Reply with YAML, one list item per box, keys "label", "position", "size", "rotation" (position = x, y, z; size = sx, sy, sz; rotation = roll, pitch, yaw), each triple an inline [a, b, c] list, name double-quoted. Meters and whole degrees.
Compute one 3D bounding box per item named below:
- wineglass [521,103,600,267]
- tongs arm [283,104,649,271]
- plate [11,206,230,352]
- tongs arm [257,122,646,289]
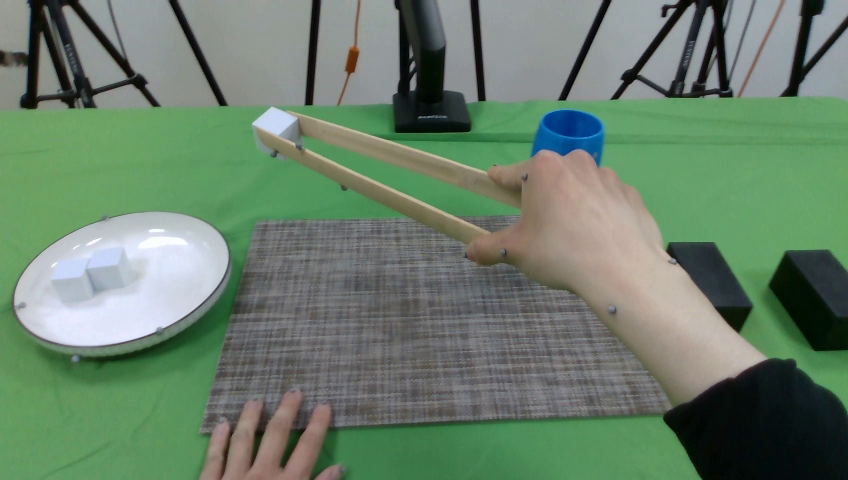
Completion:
- label: "wineglass"
  position: [0.141, -0.055, 0.653]
  size: [0.074, 0.174, 0.073]
  rotation: [1, 40, 0]
- label: "tongs arm"
  position: [0.007, -0.061, 0.507]
  size: [0.384, 0.028, 0.028]
  rotation: [24, 50, 33]
- label: "plate"
  position: [-0.309, 0.039, 0.635]
  size: [0.209, 0.038, 0.207]
  rotation: [1, 40, 0]
- label: "tongs arm"
  position: [-0.008, -0.046, 0.495]
  size: [0.381, 0.027, 0.050]
  rotation: [28, 56, 35]
